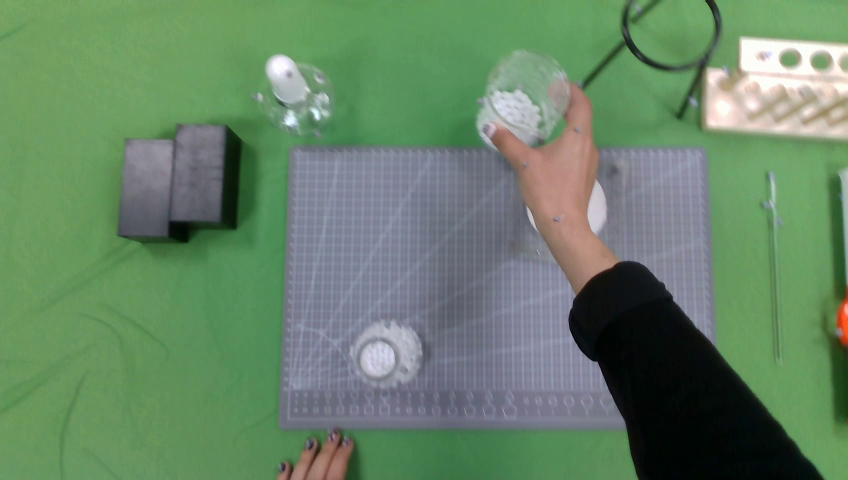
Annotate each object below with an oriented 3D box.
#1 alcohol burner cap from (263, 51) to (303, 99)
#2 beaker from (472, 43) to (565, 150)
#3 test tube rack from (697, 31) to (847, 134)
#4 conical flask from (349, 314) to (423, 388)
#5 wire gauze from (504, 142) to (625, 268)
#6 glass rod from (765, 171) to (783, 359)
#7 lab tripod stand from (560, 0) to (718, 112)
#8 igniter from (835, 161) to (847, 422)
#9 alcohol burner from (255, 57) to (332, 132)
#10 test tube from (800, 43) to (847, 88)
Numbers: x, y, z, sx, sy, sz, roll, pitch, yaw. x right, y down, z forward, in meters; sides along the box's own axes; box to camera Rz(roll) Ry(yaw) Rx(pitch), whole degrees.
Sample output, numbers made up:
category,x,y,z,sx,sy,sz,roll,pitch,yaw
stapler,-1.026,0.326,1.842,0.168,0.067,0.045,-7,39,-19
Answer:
category,x,y,z,sx,sy,sz,roll,pitch,yaw
alcohol burner cap,-0.135,-0.159,0.572,0.034,0.048,0.033,0,77,-1
beaker,0.087,-0.129,0.581,0.074,0.100,0.084,-23,86,-5
test tube rack,0.421,-0.156,0.623,0.242,0.085,0.066,4,82,1
conical flask,-0.039,0.107,0.569,0.075,0.122,0.075,0,83,0
wire gauze,0.150,-0.039,0.644,0.125,0.011,0.121,8,83,-2
glass rod,0.369,0.024,0.639,0.008,0.008,0.199,1,83,0
lab tripod stand,0.215,-0.189,0.602,0.148,0.132,0.148,0,85,1
igniter,0.451,0.055,0.627,0.057,0.025,0.275,3,83,-9
alcohol burner,-0.135,-0.152,0.607,0.078,0.119,0.077,0,84,2
test tube,0.404,-0.178,0.576,0.017,0.150,0.017,0,82,3
